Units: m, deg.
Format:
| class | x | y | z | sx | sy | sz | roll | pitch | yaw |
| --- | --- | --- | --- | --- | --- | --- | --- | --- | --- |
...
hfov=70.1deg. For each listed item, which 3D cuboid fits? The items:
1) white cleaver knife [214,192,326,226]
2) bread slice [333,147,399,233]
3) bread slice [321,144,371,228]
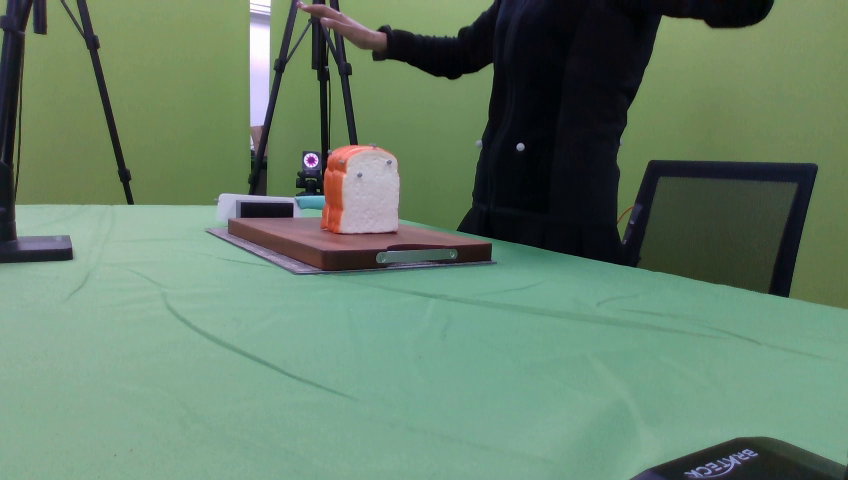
| class | x | y | z | sx | sy | sz | roll | pitch | yaw |
| --- | --- | --- | --- | --- | --- | --- | --- | --- | --- |
| white cleaver knife | -0.278 | -0.063 | 1.236 | 0.288 | 0.066 | 0.021 | 0 | 14 | -25 |
| bread slice | -0.084 | -0.074 | 0.908 | 0.105 | 0.131 | 0.019 | -4 | 14 | -31 |
| bread slice | -0.105 | -0.083 | 0.952 | 0.107 | 0.134 | 0.018 | 2 | 5 | -32 |
